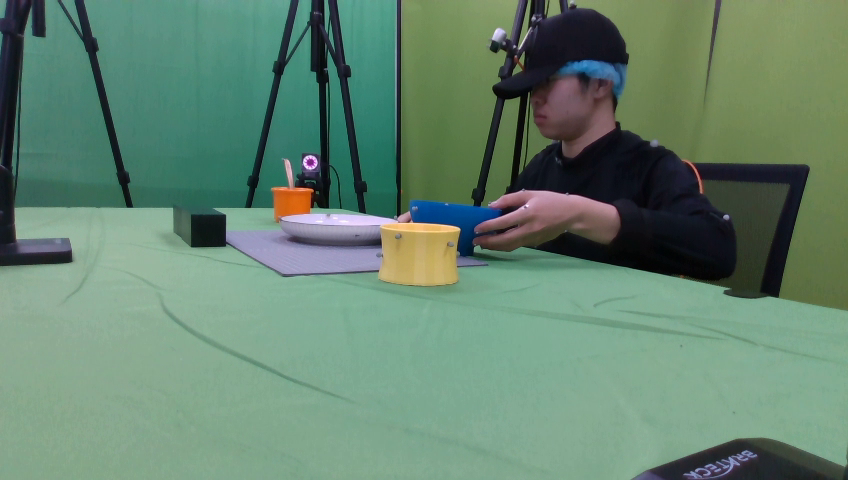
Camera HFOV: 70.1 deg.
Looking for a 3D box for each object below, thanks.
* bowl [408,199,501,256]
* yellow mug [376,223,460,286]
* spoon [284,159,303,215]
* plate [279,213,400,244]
[{"bbox_3d":[0.045,-0.018,0.967,0.151,0.077,0.151,6,5,0],"label":"bowl"},{"bbox_3d":[-0.002,0.014,0.754,0.099,0.064,0.131,5,7,20],"label":"yellow mug"},{"bbox_3d":[-0.302,-0.118,1.370,0.042,0.193,0.021,4,-39,-24],"label":"spoon"},{"bbox_3d":[-0.147,-0.020,1.060,0.209,0.038,0.209,3,7,0],"label":"plate"}]
